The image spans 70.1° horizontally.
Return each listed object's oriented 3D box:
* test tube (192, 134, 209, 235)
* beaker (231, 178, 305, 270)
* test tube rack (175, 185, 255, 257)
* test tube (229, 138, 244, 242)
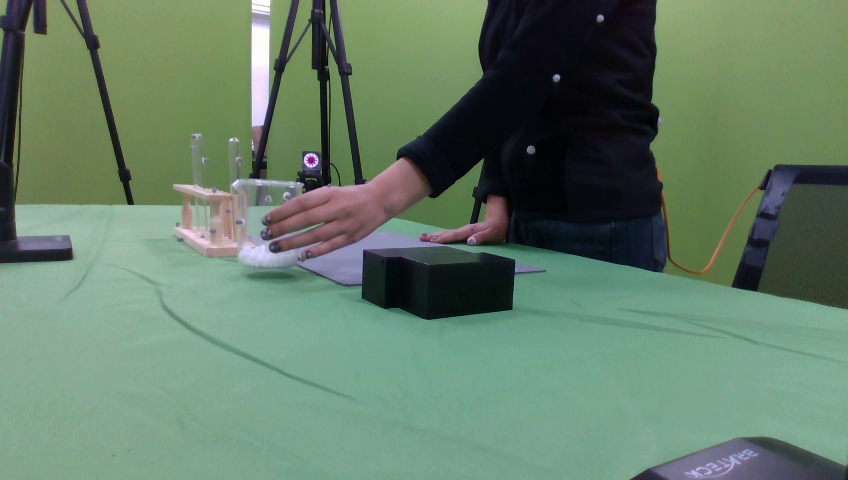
[{"bbox_3d":[-0.332,-0.082,0.898,0.017,0.150,0.017,-1,6,0],"label":"test tube"},{"bbox_3d":[-0.181,-0.019,0.698,0.084,0.100,0.073,-2,8,-36],"label":"beaker"},{"bbox_3d":[-0.324,-0.035,0.922,0.067,0.085,0.241,-2,9,-31],"label":"test tube rack"},{"bbox_3d":[-0.269,-0.071,0.867,0.017,0.150,0.017,0,9,0],"label":"test tube"}]
